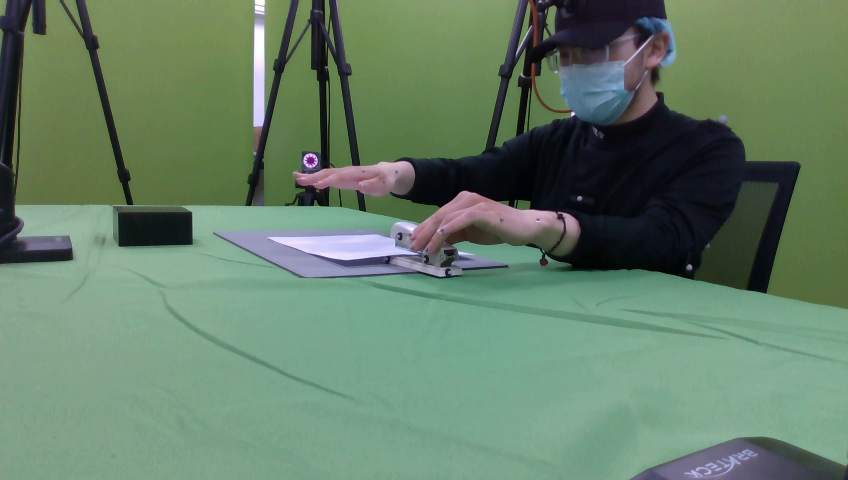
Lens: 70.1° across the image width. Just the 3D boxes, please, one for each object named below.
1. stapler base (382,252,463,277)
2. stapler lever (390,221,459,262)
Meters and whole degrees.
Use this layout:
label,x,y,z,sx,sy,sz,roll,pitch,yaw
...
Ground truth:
label,x,y,z,sx,sy,sz,roll,pitch,yaw
stapler base,-0.005,0.025,0.790,0.041,0.024,0.130,-6,13,-39
stapler lever,-0.002,0.001,0.786,0.027,0.040,0.117,-6,12,-39
